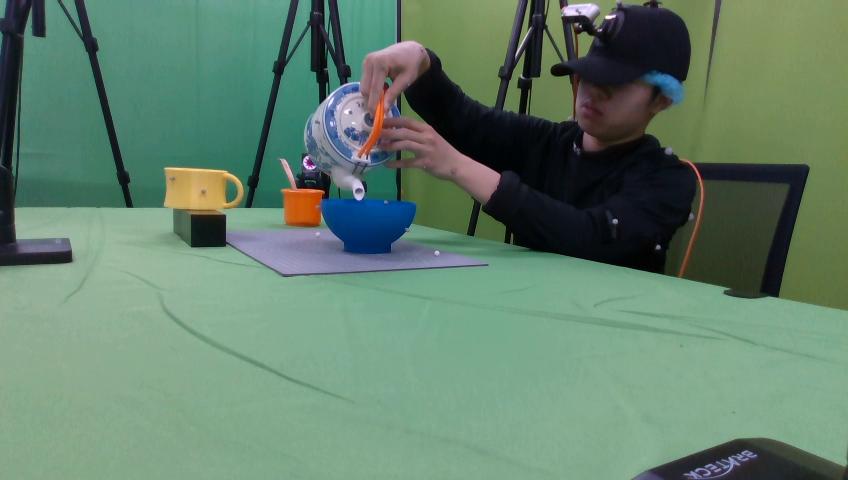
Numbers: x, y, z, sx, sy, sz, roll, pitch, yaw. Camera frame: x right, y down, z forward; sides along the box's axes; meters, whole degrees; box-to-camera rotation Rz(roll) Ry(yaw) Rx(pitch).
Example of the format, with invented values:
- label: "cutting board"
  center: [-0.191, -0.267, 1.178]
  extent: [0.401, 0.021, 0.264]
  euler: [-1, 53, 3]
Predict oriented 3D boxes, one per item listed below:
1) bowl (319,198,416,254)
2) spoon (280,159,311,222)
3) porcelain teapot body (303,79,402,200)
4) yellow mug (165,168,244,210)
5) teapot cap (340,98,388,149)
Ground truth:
- label: "bowl"
  center: [-0.089, -0.022, 0.940]
  extent: [0.151, 0.077, 0.151]
  euler: [2, 7, 0]
- label: "spoon"
  center: [-0.284, -0.111, 1.320]
  extent: [0.042, 0.193, 0.021]
  euler: [-2, -36, -31]
- label: "porcelain teapot body"
  center: [-0.114, -0.162, 1.031]
  extent: [0.146, 0.205, 0.224]
  euler: [6, -8, -25]
- label: "yellow mug"
  center: [-0.370, -0.086, 1.027]
  extent: [0.131, 0.064, 0.100]
  euler: [5, 8, 4]
- label: "teapot cap"
  center: [-0.096, -0.193, 0.998]
  extent: [0.085, 0.085, 0.043]
  euler: [-1, -2, -28]
